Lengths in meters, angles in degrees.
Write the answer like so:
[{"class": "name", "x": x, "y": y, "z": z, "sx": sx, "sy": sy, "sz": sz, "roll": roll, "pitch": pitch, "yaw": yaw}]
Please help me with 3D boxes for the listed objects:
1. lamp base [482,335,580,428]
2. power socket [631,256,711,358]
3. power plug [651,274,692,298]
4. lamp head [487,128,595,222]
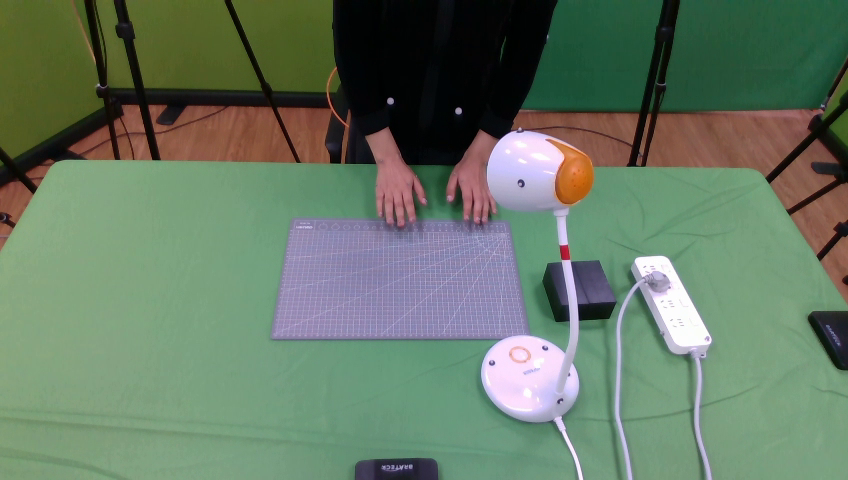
[{"class": "lamp base", "x": 0.185, "y": 0.177, "z": 0.928, "sx": 0.161, "sy": 0.181, "sz": 0.178, "roll": -22, "pitch": 53, "yaw": -23}, {"class": "power socket", "x": 0.449, "y": 0.115, "z": 1.112, "sx": 0.072, "sy": 0.033, "sz": 0.225, "roll": -4, "pitch": 47, "yaw": -6}, {"class": "power plug", "x": 0.445, "y": 0.093, "z": 1.102, "sx": 0.035, "sy": 0.053, "sz": 0.072, "roll": -25, "pitch": 57, "yaw": -7}, {"class": "lamp head", "x": 0.160, "y": -0.084, "z": 0.791, "sx": 0.112, "sy": 0.113, "sz": 0.122, "roll": -24, "pitch": 28, "yaw": -25}]
